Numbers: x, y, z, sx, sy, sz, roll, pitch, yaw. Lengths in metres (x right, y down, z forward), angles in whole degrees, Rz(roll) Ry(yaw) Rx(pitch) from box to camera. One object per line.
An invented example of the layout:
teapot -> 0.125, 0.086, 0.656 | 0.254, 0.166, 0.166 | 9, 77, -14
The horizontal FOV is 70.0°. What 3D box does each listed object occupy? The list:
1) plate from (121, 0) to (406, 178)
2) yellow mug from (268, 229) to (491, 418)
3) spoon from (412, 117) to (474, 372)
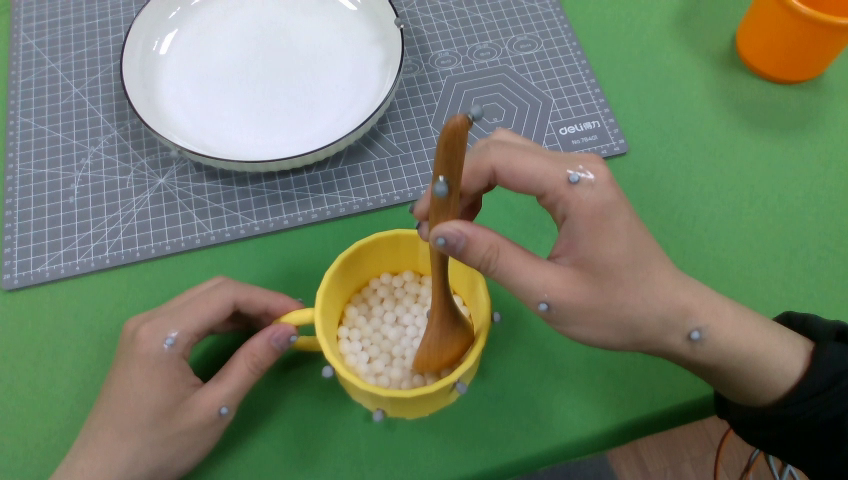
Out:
plate -> -0.117, -0.132, 0.462 | 0.208, 0.039, 0.206 | 1, 64, -1
yellow mug -> -0.027, 0.053, 0.364 | 0.131, 0.064, 0.099 | -5, 65, -2
spoon -> 0.009, 0.017, 0.297 | 0.042, 0.195, 0.021 | -23, 52, -17
